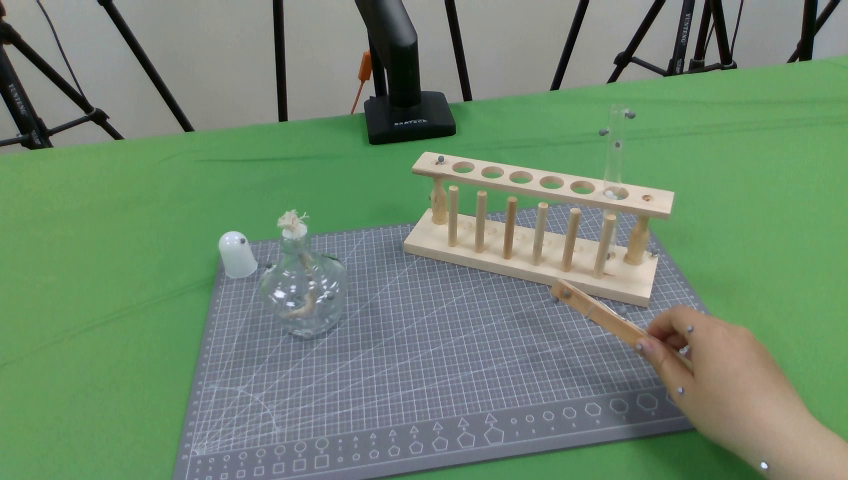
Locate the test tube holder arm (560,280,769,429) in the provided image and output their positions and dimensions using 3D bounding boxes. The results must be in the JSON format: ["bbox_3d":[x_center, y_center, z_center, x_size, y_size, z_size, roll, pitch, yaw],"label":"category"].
[{"bbox_3d":[0.176,0.083,0.465,0.177,0.015,0.013,34,18,24],"label":"test tube holder arm"}]

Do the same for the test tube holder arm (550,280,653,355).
[{"bbox_3d":[0.139,0.060,0.479,0.087,0.015,0.010,34,18,24],"label":"test tube holder arm"}]

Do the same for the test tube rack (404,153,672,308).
[{"bbox_3d":[0.101,-0.014,0.583,0.241,0.086,0.066,12,42,20],"label":"test tube rack"}]

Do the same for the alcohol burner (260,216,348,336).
[{"bbox_3d":[-0.107,0.027,0.527,0.078,0.120,0.077,-1,40,1],"label":"alcohol burner"}]

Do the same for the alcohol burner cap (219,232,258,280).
[{"bbox_3d":[-0.188,0.013,0.608,0.034,0.048,0.033,-1,39,1],"label":"alcohol burner cap"}]

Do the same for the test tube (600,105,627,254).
[{"bbox_3d":[0.168,-0.049,0.541,0.017,0.151,0.017,-6,36,4],"label":"test tube"}]
